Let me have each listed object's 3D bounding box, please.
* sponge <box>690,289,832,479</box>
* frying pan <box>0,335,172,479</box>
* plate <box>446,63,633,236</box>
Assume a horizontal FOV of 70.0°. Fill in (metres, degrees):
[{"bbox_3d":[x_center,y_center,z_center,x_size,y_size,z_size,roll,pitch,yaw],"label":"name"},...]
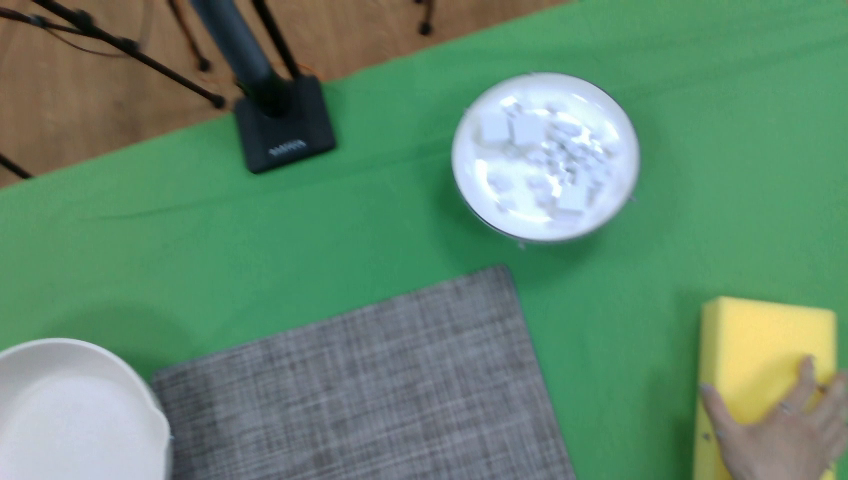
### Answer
[{"bbox_3d":[0.357,0.164,0.647,0.118,0.061,0.206,5,77,7],"label":"sponge"},{"bbox_3d":[-0.388,0.346,0.647,0.307,0.103,0.483,-20,68,2],"label":"frying pan"},{"bbox_3d":[0.130,-0.102,0.694,0.207,0.039,0.206,-1,76,3],"label":"plate"}]
